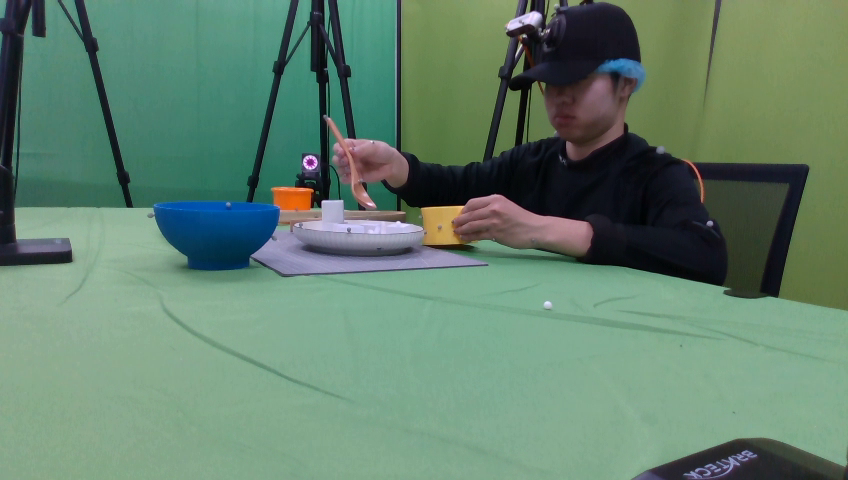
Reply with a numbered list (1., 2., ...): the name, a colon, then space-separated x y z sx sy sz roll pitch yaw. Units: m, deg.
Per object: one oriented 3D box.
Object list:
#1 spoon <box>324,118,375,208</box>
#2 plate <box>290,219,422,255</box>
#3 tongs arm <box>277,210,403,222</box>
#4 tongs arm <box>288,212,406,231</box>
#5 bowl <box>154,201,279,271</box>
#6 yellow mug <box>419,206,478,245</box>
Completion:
1. spoon: -0.123 -0.127 0.978 0.021 0.193 0.042 -35 -26 25
2. plate: -0.108 -0.005 0.963 0.208 0.039 0.207 3 7 0
3. tongs arm: -0.206 -0.052 1.332 0.387 0.026 0.050 -2 8 -44
4. tongs arm: -0.146 -0.040 1.280 0.028 0.028 0.389 3 5 33
5. bowl: -0.263 -0.005 0.773 0.151 0.077 0.151 3 8 0
6. yellow mug: 0.050 -0.026 1.041 0.100 0.064 0.130 -4 3 -30
